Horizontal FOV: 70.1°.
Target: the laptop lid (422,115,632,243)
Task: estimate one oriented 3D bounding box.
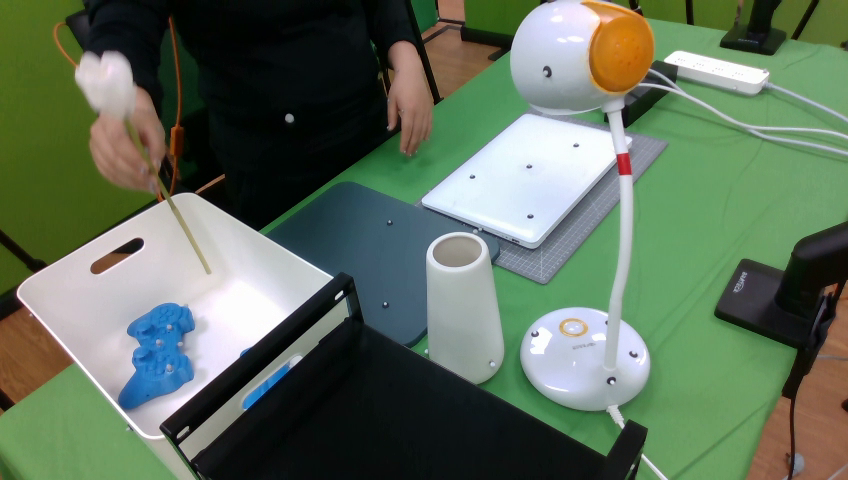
[{"bbox_3d":[0.189,-0.126,1.081,0.239,0.013,0.358,23,48,35],"label":"laptop lid"}]

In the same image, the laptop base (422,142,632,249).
[{"bbox_3d":[0.192,-0.117,1.087,0.233,0.023,0.355,21,47,34],"label":"laptop base"}]

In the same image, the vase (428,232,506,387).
[{"bbox_3d":[0.050,0.087,0.728,0.098,0.201,0.097,-3,40,3],"label":"vase"}]

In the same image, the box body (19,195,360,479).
[{"bbox_3d":[-0.288,0.118,0.772,0.361,0.161,0.255,26,50,33],"label":"box body"}]

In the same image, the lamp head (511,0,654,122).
[{"bbox_3d":[0.155,-0.168,0.563,0.113,0.113,0.122,-18,23,-12],"label":"lamp head"}]

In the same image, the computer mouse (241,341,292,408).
[{"bbox_3d":[-0.201,0.177,0.776,0.063,0.041,0.116,-11,44,-8],"label":"computer mouse"}]

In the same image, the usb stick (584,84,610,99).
[{"bbox_3d":[0.353,-0.306,1.252,0.027,0.021,0.058,-1,0,-40],"label":"usb stick"}]

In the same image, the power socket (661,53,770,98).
[{"bbox_3d":[0.617,-0.355,1.292,0.225,0.033,0.072,29,53,35],"label":"power socket"}]

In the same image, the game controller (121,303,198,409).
[{"bbox_3d":[-0.364,0.149,0.828,0.097,0.052,0.154,-13,41,-9],"label":"game controller"}]

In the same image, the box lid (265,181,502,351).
[{"bbox_3d":[-0.087,0.023,0.971,0.368,0.015,0.264,23,49,31],"label":"box lid"}]

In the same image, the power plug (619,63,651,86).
[{"bbox_3d":[0.435,-0.341,1.266,0.035,0.053,0.072,5,31,-14],"label":"power plug"}]

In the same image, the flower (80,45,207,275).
[{"bbox_3d":[-0.290,-0.060,0.674,0.044,0.362,0.038,-37,64,-26],"label":"flower"}]

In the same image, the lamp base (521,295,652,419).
[{"bbox_3d":[0.200,0.095,0.710,0.161,0.181,0.178,-16,43,-10],"label":"lamp base"}]
